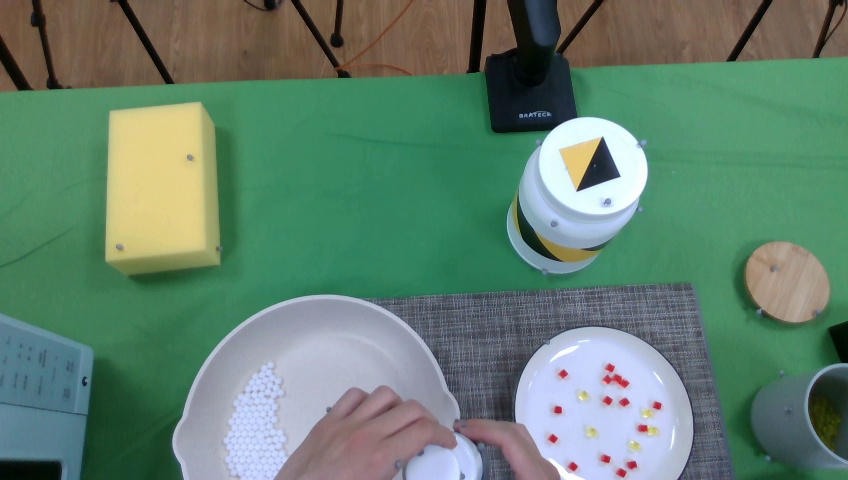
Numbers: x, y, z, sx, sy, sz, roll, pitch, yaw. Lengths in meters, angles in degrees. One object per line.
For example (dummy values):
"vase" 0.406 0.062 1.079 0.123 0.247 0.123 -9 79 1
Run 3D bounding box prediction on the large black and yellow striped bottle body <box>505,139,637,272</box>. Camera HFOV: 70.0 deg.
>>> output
"large black and yellow striped bottle body" 0.172 -0.048 0.719 0.131 0.185 0.130 1 70 -1

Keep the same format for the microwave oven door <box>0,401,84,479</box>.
"microwave oven door" -0.391 0.323 0.524 0.039 0.245 0.353 -3 71 -2

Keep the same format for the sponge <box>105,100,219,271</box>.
"sponge" -0.334 -0.071 0.774 0.118 0.061 0.205 -8 72 -5

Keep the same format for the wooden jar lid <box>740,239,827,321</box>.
"wooden jar lid" 0.459 0.052 0.780 0.108 0.021 0.107 0 73 -1

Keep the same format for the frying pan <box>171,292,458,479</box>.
"frying pan" -0.109 0.298 0.631 0.307 0.103 0.483 -4 63 -1

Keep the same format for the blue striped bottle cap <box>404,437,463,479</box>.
"blue striped bottle cap" 0.007 0.178 0.474 0.044 0.021 0.044 -3 78 12

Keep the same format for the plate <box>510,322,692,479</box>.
"plate" 0.202 0.201 0.707 0.209 0.038 0.207 0 71 -1

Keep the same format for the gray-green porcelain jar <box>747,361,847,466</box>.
"gray-green porcelain jar" 0.435 0.196 0.673 0.106 0.127 0.105 1 71 -1

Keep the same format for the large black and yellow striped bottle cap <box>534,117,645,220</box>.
"large black and yellow striped bottle cap" 0.174 -0.077 0.638 0.115 0.019 0.114 0 70 -1

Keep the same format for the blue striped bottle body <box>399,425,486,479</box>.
"blue striped bottle body" 0.017 0.193 0.523 0.063 0.121 0.062 -3 74 11

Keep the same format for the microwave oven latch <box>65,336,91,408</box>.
"microwave oven latch" -0.400 0.150 0.690 0.030 0.029 0.078 -2 72 -3

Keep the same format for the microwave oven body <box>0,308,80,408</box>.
"microwave oven body" -0.538 0.290 0.536 0.326 0.261 0.438 -2 72 -3
